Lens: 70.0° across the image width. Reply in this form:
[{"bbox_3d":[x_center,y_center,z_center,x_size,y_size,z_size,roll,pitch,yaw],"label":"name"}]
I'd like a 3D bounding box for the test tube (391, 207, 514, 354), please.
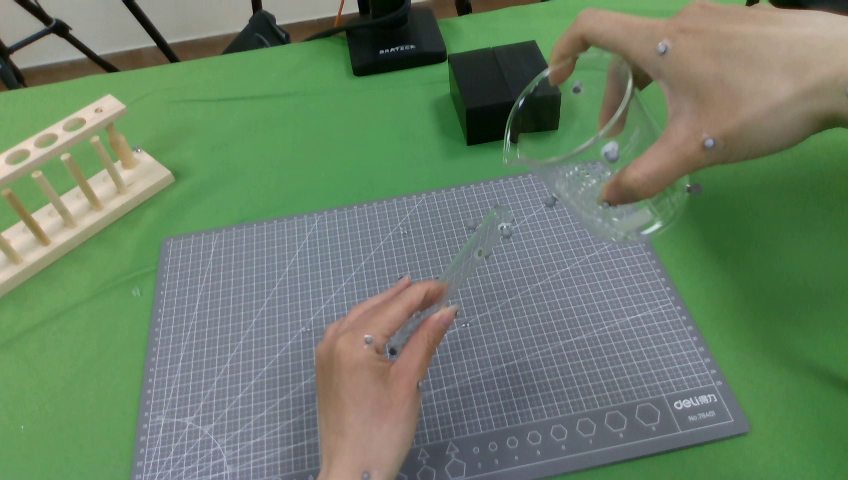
[{"bbox_3d":[0.014,0.033,0.410,0.017,0.151,0.017,21,40,-18],"label":"test tube"}]

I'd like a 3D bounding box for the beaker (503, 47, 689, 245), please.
[{"bbox_3d":[0.104,-0.047,0.356,0.084,0.101,0.073,-36,41,18],"label":"beaker"}]

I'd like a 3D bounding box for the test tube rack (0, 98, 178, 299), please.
[{"bbox_3d":[-0.374,-0.032,0.585,0.066,0.086,0.242,33,60,29],"label":"test tube rack"}]
